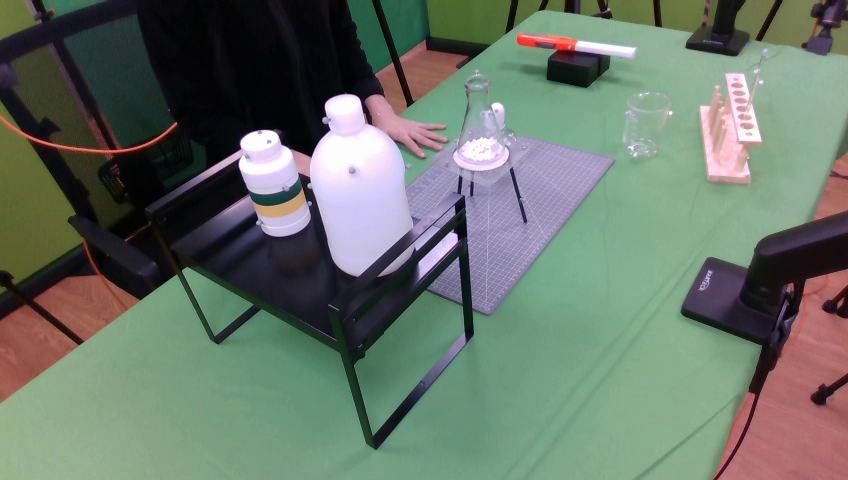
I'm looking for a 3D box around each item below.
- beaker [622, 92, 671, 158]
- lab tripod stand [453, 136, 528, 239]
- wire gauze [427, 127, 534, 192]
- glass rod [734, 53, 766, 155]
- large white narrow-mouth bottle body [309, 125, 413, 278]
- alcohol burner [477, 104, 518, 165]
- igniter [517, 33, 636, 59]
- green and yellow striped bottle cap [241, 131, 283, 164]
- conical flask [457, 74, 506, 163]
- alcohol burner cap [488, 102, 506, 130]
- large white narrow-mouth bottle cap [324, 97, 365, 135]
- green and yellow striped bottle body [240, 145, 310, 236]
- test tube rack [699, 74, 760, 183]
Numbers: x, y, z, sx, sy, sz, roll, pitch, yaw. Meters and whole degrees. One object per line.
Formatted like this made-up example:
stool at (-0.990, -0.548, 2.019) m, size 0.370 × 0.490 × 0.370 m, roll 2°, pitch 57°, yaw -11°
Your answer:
beaker at (0.402, -0.210, 1.106) m, size 0.074 × 0.101 × 0.083 m, roll -9°, pitch 40°, yaw -2°
lab tripod stand at (0.094, -0.086, 0.974) m, size 0.148 × 0.132 × 0.147 m, roll -4°, pitch 43°, yaw 4°
wire gauze at (0.086, -0.130, 0.925) m, size 0.124 × 0.011 × 0.122 m, roll 28°, pitch 54°, yaw 31°
glass rod at (0.540, -0.220, 1.007) m, size 0.008 × 0.201 × 0.008 m, roll -5°, pitch 45°, yaw 6°
large white narrow-mouth bottle body at (-0.069, -0.057, 0.645) m, size 0.102 × 0.195 × 0.101 m, roll -3°, pitch 42°, yaw 4°
alcohol burner at (0.135, -0.200, 1.117) m, size 0.078 × 0.119 × 0.077 m, roll -4°, pitch 43°, yaw 4°
igniter at (0.336, -0.441, 1.369) m, size 0.275 × 0.025 × 0.057 m, roll 16°, pitch 41°, yaw 23°
green and yellow striped bottle cap at (-0.187, -0.107, 0.695) m, size 0.045 × 0.020 × 0.045 m, roll -3°, pitch 39°, yaw 3°
conical flask at (0.082, -0.181, 0.893) m, size 0.075 × 0.122 × 0.075 m, roll -4°, pitch 41°, yaw 4°
alcohol burner cap at (0.133, -0.227, 1.092) m, size 0.034 × 0.048 × 0.033 m, roll -2°, pitch 47°, yaw 2°
large white narrow-mouth bottle cap at (-0.076, -0.120, 0.585) m, size 0.038 × 0.024 × 0.037 m, roll -3°, pitch 42°, yaw 3°
green and yellow striped bottle body at (-0.181, -0.068, 0.729) m, size 0.063 × 0.120 × 0.063 m, roll -4°, pitch 40°, yaw 4°
test tube rack at (0.547, -0.208, 1.095) m, size 0.066 × 0.085 × 0.242 m, roll 6°, pitch 42°, yaw 16°
